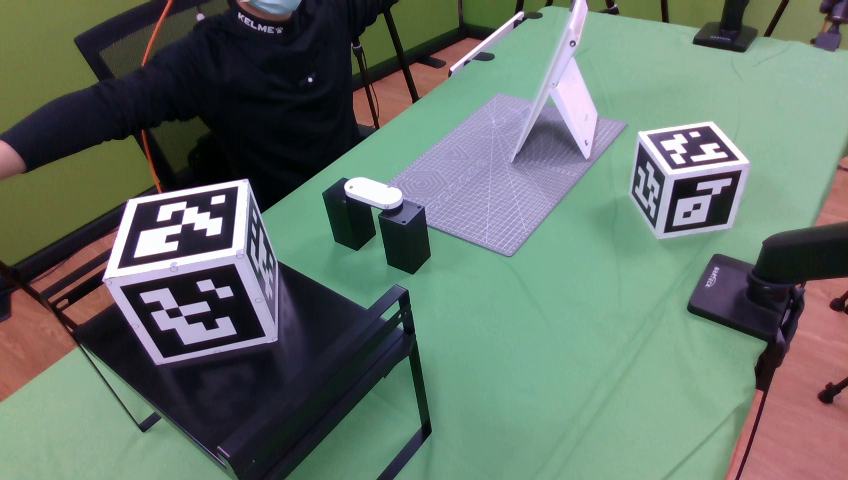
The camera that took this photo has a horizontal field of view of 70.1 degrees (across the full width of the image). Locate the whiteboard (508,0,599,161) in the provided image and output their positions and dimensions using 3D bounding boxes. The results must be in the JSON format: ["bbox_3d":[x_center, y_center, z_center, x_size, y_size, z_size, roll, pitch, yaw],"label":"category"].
[{"bbox_3d":[0.285,-0.289,1.090,0.144,0.305,0.217,22,45,3],"label":"whiteboard"}]

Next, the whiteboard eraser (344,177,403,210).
[{"bbox_3d":[-0.077,-0.071,0.911,0.100,0.019,0.041,20,50,29],"label":"whiteboard eraser"}]
